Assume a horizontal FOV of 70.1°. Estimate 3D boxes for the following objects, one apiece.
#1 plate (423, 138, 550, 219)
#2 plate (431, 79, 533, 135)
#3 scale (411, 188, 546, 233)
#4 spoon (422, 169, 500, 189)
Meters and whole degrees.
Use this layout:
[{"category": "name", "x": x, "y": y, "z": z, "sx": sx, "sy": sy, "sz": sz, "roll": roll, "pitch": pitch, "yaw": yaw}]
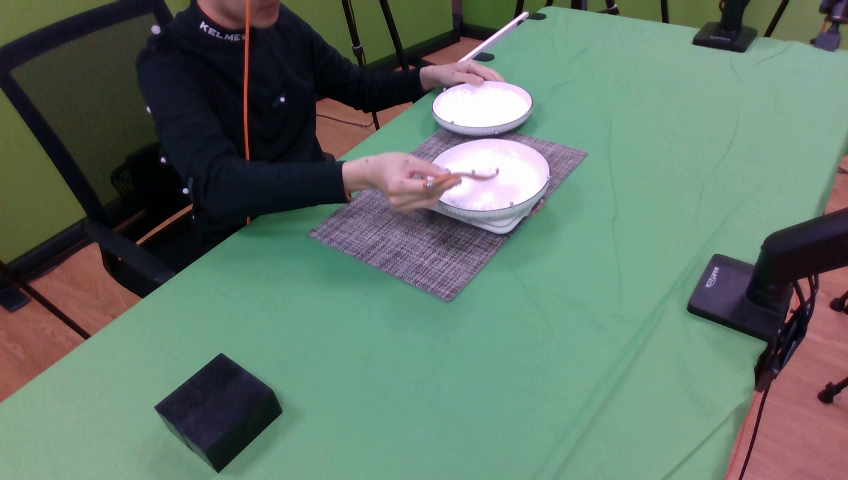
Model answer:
[{"category": "plate", "x": 0.104, "y": -0.099, "z": 1.005, "sx": 0.207, "sy": 0.039, "sz": 0.206, "roll": -4, "pitch": 41, "yaw": 4}, {"category": "plate", "x": 0.120, "y": -0.271, "z": 1.250, "sx": 0.209, "sy": 0.038, "sz": 0.208, "roll": -4, "pitch": 39, "yaw": 3}, {"category": "scale", "x": 0.092, "y": -0.083, "z": 1.039, "sx": 0.199, "sy": 0.032, "sz": 0.149, "roll": 22, "pitch": 48, "yaw": 30}, {"category": "spoon", "x": 0.055, "y": -0.093, "z": 0.904, "sx": 0.041, "sy": 0.021, "sz": 0.195, "roll": 10, "pitch": 13, "yaw": 36}]
